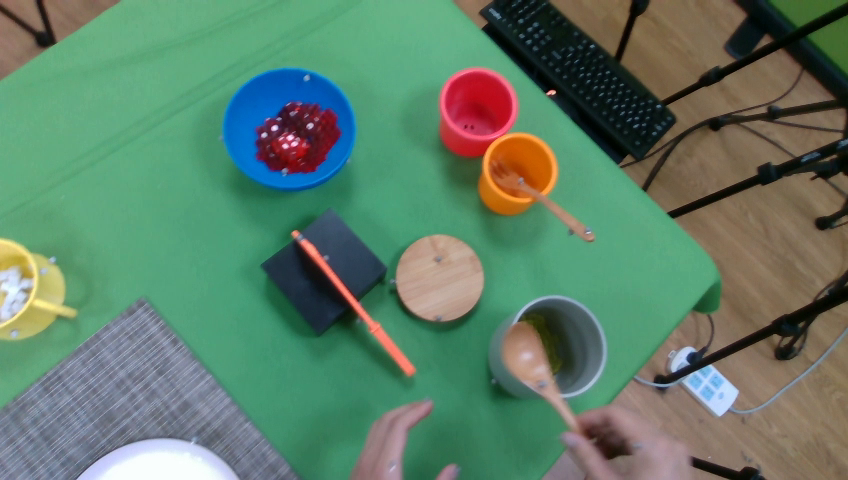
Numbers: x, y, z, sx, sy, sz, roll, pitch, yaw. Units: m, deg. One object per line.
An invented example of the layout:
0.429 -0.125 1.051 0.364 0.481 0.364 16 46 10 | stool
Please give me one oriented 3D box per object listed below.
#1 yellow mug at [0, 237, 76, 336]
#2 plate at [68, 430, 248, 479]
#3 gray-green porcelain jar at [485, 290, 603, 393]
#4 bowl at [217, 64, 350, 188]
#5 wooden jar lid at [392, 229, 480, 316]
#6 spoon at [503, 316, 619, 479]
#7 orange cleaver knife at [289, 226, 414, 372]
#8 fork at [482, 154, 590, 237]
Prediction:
-0.447 0.056 0.660 0.131 0.064 0.099 19 74 -3 | yellow mug
-0.277 0.304 0.628 0.209 0.038 0.208 2 76 -7 | plate
0.128 0.118 0.682 0.106 0.127 0.105 2 75 -6 | gray-green porcelain jar
-0.164 -0.126 0.733 0.151 0.077 0.150 2 76 -6 | bowl
0.015 0.041 0.743 0.108 0.021 0.108 1 77 -6 | wooden jar lid
0.124 0.149 0.521 0.041 0.021 0.194 -34 91 -31 | spoon
-0.083 0.067 0.692 0.012 0.077 0.212 -40 107 -10 | orange cleaver knife
0.128 -0.056 0.714 0.028 0.019 0.205 -26 37 -13 | fork
